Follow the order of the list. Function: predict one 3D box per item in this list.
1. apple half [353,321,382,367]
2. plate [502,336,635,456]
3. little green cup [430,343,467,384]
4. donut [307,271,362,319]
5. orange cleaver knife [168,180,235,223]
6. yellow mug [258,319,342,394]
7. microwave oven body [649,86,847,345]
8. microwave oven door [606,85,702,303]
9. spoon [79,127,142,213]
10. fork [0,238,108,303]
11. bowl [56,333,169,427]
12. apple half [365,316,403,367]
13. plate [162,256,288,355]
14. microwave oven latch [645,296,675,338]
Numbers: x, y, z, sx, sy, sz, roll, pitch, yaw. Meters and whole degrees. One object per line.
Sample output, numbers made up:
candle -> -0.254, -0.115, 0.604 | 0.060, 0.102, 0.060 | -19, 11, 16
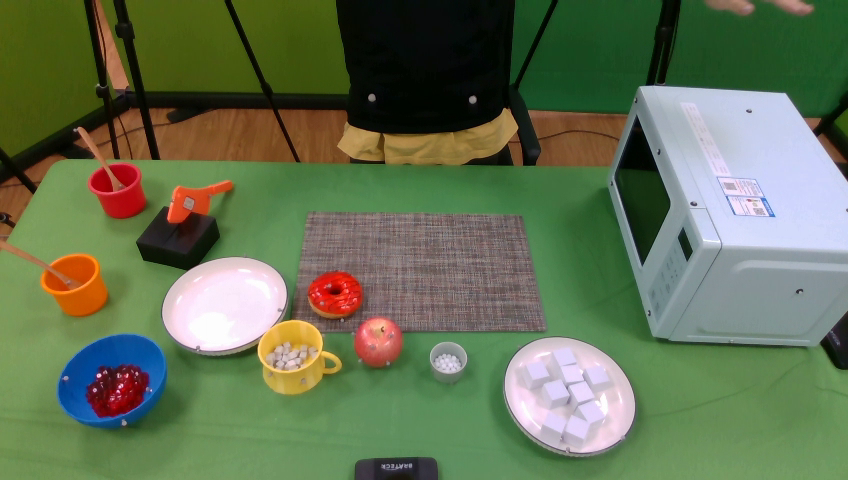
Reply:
apple half -> -0.098, 0.177, 0.984 | 0.033, 0.081, 0.081 | -17, 49, -25
plate -> 0.225, 0.248, 0.963 | 0.208, 0.039, 0.206 | 2, 46, -2
little green cup -> 0.039, 0.203, 0.994 | 0.061, 0.039, 0.061 | 2, 46, -2
donut -> -0.157, 0.097, 1.072 | 0.099, 0.048, 0.098 | 3, 45, -3
orange cleaver knife -> -0.435, -0.078, 1.196 | 0.012, 0.077, 0.211 | 15, 15, 10
yellow mug -> -0.196, 0.189, 0.972 | 0.131, 0.064, 0.099 | 9, 46, 3
microwave oven body -> 0.567, -0.053, 1.118 | 0.326, 0.261, 0.439 | 2, 45, -1
microwave oven door -> 0.423, -0.094, 1.140 | 0.039, 0.245, 0.353 | 2, 46, -1
spoon -> -0.624, -0.139, 1.203 | 0.041, 0.021, 0.194 | -33, 100, -26
fork -> -0.633, 0.048, 1.017 | 0.208, 0.018, 0.028 | 40, 41, -27
bowl -> -0.456, 0.223, 0.912 | 0.151, 0.077, 0.150 | 3, 46, -2
apple half -> -0.063, 0.165, 1.000 | 0.053, 0.075, 0.080 | -16, 45, -24
plate -> -0.341, 0.115, 1.051 | 0.209, 0.038, 0.208 | 2, 46, -2
microwave oven latch -> 0.411, 0.134, 1.061 | 0.030, 0.029, 0.078 | 3, 45, 0
